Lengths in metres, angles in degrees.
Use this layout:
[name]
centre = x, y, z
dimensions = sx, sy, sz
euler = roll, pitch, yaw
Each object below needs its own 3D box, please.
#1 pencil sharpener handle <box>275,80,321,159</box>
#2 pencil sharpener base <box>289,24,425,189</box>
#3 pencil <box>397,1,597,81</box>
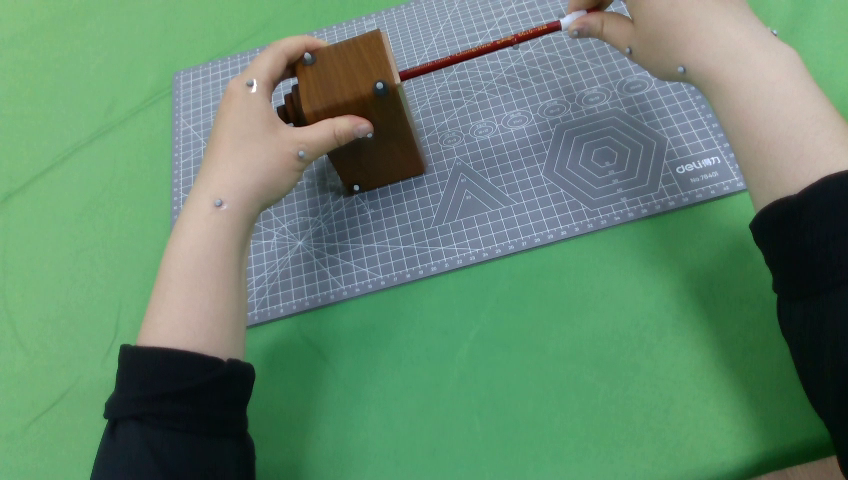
[pencil sharpener handle]
centre = -0.100, -0.086, 0.456
dimensions = 0.030, 0.068, 0.035
euler = -18, 58, 3
[pencil sharpener base]
centre = -0.050, -0.097, 0.465
dimensions = 0.076, 0.108, 0.061
euler = -18, 60, 3
[pencil]
centre = 0.031, -0.136, 0.436
dimensions = 0.194, 0.012, 0.012
euler = -18, 60, 3
